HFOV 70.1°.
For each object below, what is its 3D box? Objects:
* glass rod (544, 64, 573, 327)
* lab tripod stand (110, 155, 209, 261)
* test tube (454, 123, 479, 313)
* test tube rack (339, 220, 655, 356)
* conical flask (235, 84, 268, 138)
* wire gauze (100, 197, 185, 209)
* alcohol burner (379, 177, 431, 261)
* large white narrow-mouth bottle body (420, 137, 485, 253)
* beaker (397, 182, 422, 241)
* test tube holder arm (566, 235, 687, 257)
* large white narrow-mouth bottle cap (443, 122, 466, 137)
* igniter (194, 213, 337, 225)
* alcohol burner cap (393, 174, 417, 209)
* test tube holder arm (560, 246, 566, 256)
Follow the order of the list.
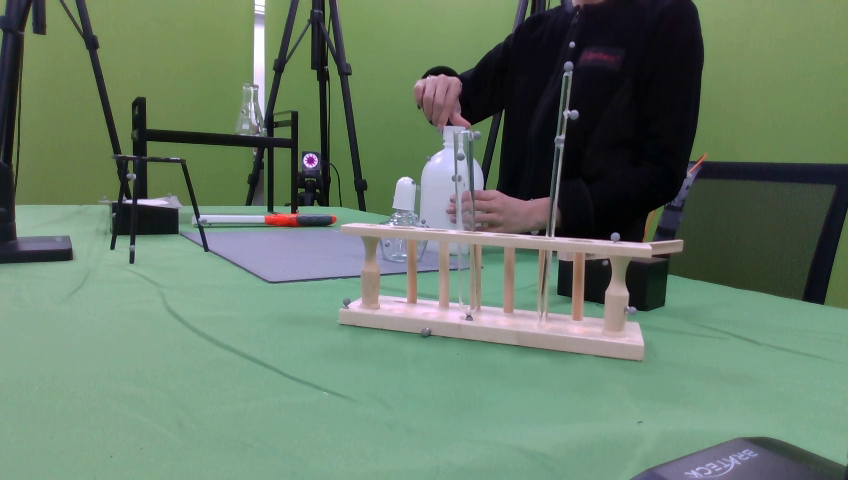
[{"bbox_3d":[0.101,-0.028,0.453,0.008,0.199,0.008,1,14,0],"label":"glass rod"},{"bbox_3d":[-0.361,-0.046,0.806,0.148,0.131,0.148,2,5,0],"label":"lab tripod stand"},{"bbox_3d":[0.034,-0.016,0.476,0.017,0.150,0.017,-2,9,1],"label":"test tube"},{"bbox_3d":[0.056,0.032,0.495,0.242,0.085,0.067,4,7,15],"label":"test tube rack"},{"bbox_3d":[-0.401,-0.299,1.406,0.075,0.122,0.075,2,7,0],"label":"conical flask"},{"bbox_3d":[-0.469,-0.062,1.008,0.126,0.011,0.121,-2,8,-25],"label":"wire gauze"},{"bbox_3d":[-0.027,-0.031,0.838,0.078,0.119,0.078,0,6,0],"label":"alcohol burner"},{"bbox_3d":[0.046,-0.081,0.956,0.102,0.194,0.102,2,8,0],"label":"large white narrow-mouth bottle body"},{"bbox_3d":[-0.011,-0.051,1.078,0.074,0.100,0.083,-2,9,-26],"label":"beaker"},{"bbox_3d":[0.215,0.006,0.629,0.179,0.015,0.013,-3,9,-30],"label":"test tube holder arm"},{"bbox_3d":[0.048,-0.171,0.943,0.038,0.024,0.037,2,8,0],"label":"large white narrow-mouth bottle cap"},{"bbox_3d":[-0.306,-0.042,1.196,0.278,0.025,0.057,-2,-2,-31],"label":"igniter"},{"bbox_3d":[-0.025,-0.067,0.834,0.034,0.048,0.034,8,7,-1],"label":"alcohol burner cap"},{"bbox_3d":[0.173,0.007,0.611,0.088,0.015,0.010,-3,9,-29],"label":"test tube holder arm"}]
